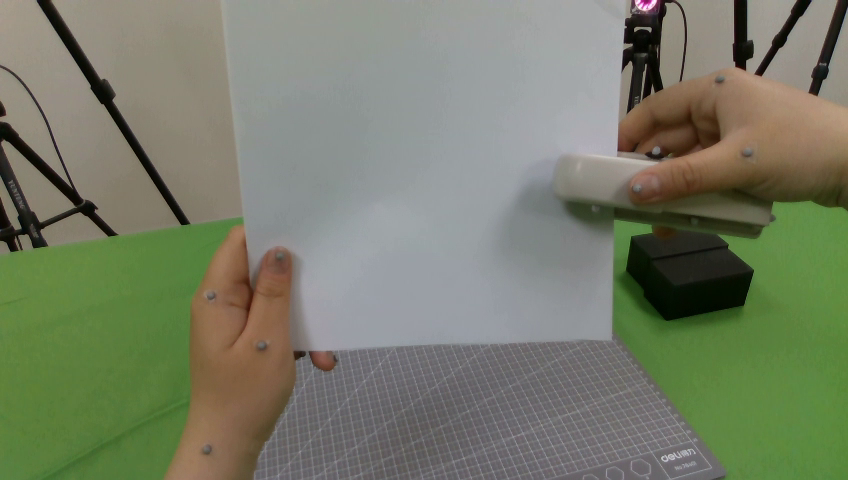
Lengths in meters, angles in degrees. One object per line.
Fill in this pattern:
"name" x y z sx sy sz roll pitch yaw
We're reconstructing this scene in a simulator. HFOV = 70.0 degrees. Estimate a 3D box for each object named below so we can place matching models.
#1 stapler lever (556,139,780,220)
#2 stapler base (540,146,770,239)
"stapler lever" 0.131 -0.033 0.327 0.118 0.027 0.040 9 -1 11
"stapler base" 0.134 -0.030 0.350 0.130 0.041 0.024 9 -1 10
